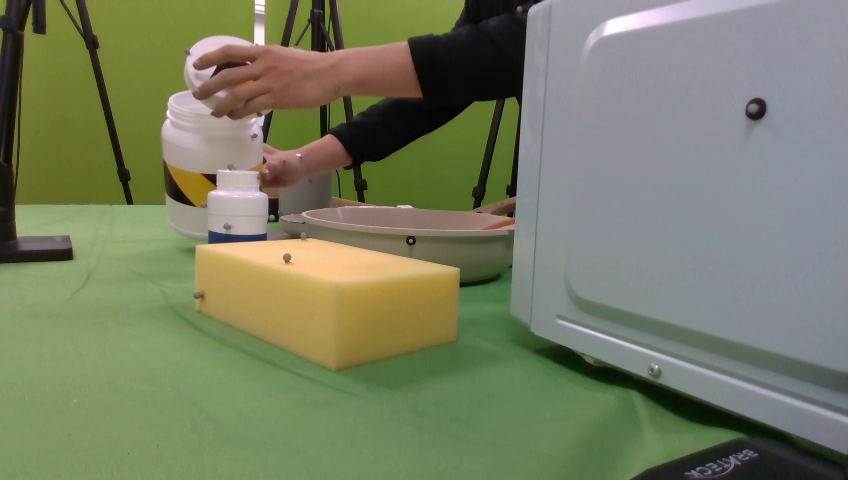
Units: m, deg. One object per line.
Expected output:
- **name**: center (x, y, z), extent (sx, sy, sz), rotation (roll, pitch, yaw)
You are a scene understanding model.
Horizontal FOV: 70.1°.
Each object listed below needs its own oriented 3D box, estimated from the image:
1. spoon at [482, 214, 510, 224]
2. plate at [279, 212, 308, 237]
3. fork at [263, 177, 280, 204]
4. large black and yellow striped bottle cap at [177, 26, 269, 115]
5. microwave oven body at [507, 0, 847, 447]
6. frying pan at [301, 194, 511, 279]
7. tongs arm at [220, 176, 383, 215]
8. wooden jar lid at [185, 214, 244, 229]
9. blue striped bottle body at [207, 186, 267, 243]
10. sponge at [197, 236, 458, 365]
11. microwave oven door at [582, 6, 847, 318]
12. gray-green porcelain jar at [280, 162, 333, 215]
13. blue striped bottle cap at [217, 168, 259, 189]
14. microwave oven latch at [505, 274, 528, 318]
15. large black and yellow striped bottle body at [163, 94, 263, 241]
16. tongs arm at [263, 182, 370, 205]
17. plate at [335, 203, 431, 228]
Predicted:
- **spoon**: center (0.076, -0.013, 0.794), extent (0.193, 0.021, 0.042), rotation (-24, -3, 11)
- **plate**: center (-0.138, -0.021, 1.020), extent (0.209, 0.038, 0.209), rotation (2, 8, 0)
- **fork**: center (-0.396, -0.143, 1.486), extent (0.028, 0.018, 0.208), rotation (20, -26, 45)
- **large black and yellow striped bottle cap**: center (-0.252, -0.211, 0.768), extent (0.115, 0.115, 0.018), rotation (-5, 24, -41)
- **microwave oven body**: center (0.331, -0.042, 0.425), extent (0.444, 0.260, 0.324), rotation (-2, 8, -31)
- **frying pan**: center (0.050, -0.028, 0.864), extent (0.305, 0.102, 0.490), rotation (8, 18, 35)
- **tongs arm**: center (-0.285, -0.104, 1.445), extent (0.389, 0.027, 0.028), rotation (9, -4, -23)
- **wooden jar lid**: center (-0.404, -0.037, 1.169), extent (0.108, 0.020, 0.108), rotation (3, 7, 0)
- **blue striped bottle body**: center (-0.204, -0.016, 0.663), extent (0.063, 0.120, 0.063), rotation (2, 7, 0)
- **sponge**: center (-0.087, 0.039, 0.500), extent (0.206, 0.061, 0.119), rotation (8, 9, 44)
- **microwave oven door**: center (0.295, -0.067, 0.569), extent (0.358, 0.243, 0.039), rotation (-3, 8, -31)
- **gray-green porcelain jar**: center (-0.238, -0.092, 1.221), extent (0.106, 0.126, 0.106), rotation (2, 7, 0)
- **blue striped bottle cap**: center (-0.202, -0.067, 0.656), extent (0.044, 0.020, 0.044), rotation (1, 10, 0)
- **microwave oven latch**: center (0.100, 0.041, 0.472), extent (0.079, 0.029, 0.030), rotation (-2, 8, -31)
- **large black and yellow striped bottle body**: center (-0.294, -0.106, 0.853), extent (0.131, 0.184, 0.130), rotation (7, 29, -3)
- **tongs arm**: center (-0.241, -0.095, 1.373), extent (0.387, 0.026, 0.050), rotation (9, 0, -37)
- **plate**: center (-0.089, -0.053, 1.309), extent (0.208, 0.039, 0.207), rotation (2, 8, 0)
